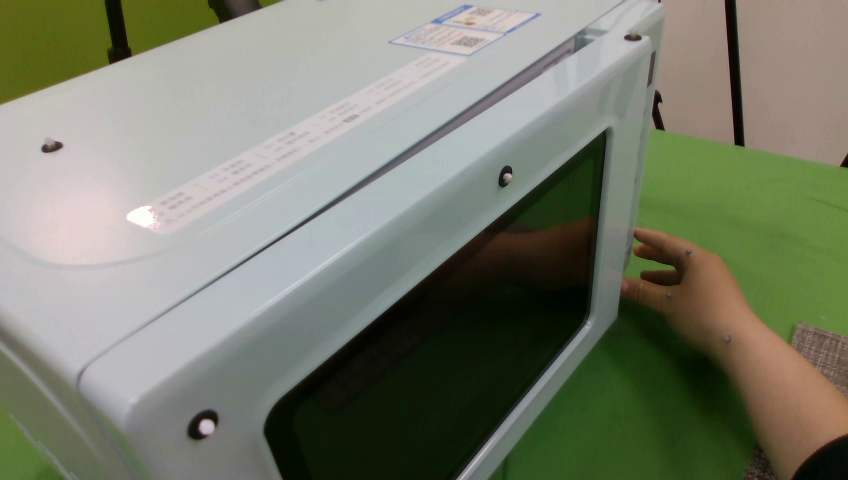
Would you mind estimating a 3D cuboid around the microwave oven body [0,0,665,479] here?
[{"bbox_3d":[-0.071,-0.015,0.461,0.323,0.262,0.441,21,45,31],"label":"microwave oven body"}]

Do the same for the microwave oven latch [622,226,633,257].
[{"bbox_3d":[0.162,0.014,0.551,0.030,0.030,0.079,22,46,32],"label":"microwave oven latch"}]

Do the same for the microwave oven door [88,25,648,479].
[{"bbox_3d":[0.027,0.049,0.352,0.039,0.246,0.355,23,46,34],"label":"microwave oven door"}]
